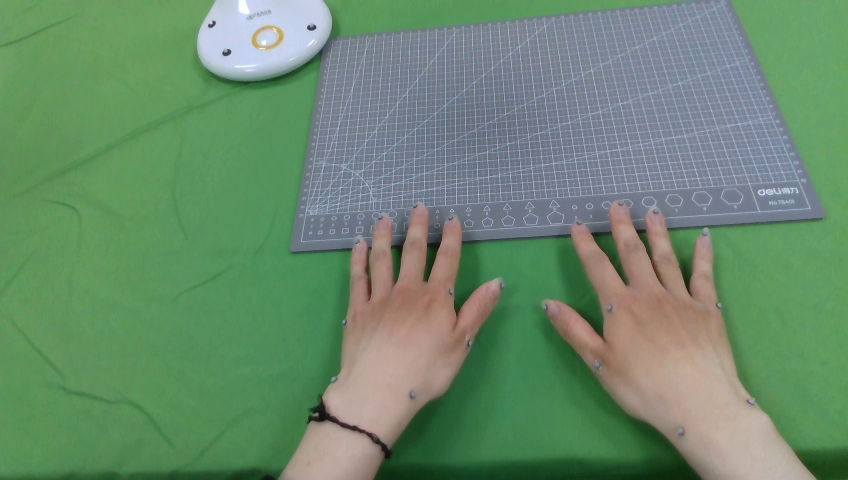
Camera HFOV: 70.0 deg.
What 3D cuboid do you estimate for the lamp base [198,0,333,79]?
[{"bbox_3d":[-0.202,-0.297,0.654,0.161,0.182,0.177,-28,53,-11],"label":"lamp base"}]
